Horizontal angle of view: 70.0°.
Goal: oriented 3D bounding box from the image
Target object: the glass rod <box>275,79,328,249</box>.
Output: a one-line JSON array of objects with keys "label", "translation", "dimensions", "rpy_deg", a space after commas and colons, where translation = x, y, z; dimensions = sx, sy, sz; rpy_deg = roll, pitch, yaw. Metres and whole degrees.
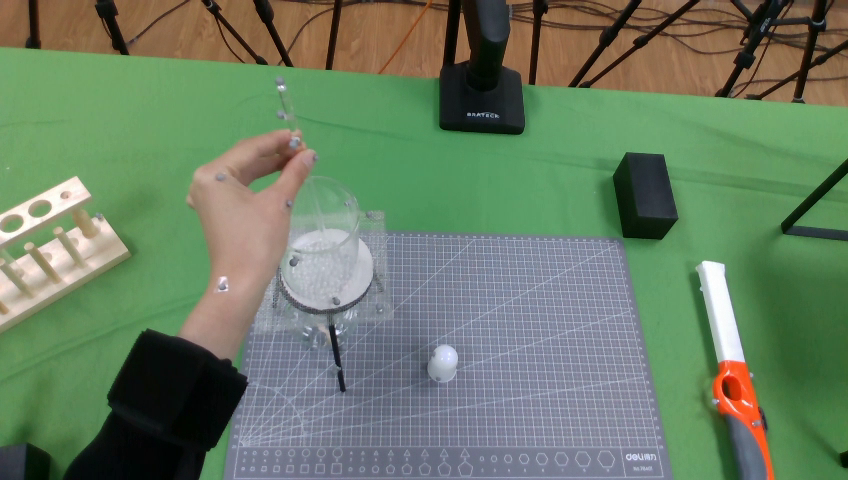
[{"label": "glass rod", "translation": [-0.095, -0.049, 0.486], "dimensions": [0.008, 0.201, 0.008], "rpy_deg": [0, 56, 1]}]

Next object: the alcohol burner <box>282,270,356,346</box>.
[{"label": "alcohol burner", "translation": [-0.109, 0.064, 0.627], "dimensions": [0.078, 0.120, 0.077], "rpy_deg": [4, 58, -5]}]

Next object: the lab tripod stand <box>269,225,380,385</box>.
[{"label": "lab tripod stand", "translation": [-0.098, 0.059, 0.620], "dimensions": [0.148, 0.132, 0.147], "rpy_deg": [3, 60, -5]}]

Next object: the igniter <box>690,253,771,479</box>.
[{"label": "igniter", "translation": [0.340, 0.139, 0.680], "dimensions": [0.057, 0.025, 0.274], "rpy_deg": [9, 59, -12]}]

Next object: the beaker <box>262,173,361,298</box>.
[{"label": "beaker", "translation": [-0.096, -0.001, 0.522], "dimensions": [0.084, 0.101, 0.073], "rpy_deg": [24, 60, 8]}]

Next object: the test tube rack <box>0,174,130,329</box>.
[{"label": "test tube rack", "translation": [-0.449, 0.037, 0.630], "dimensions": [0.242, 0.086, 0.066], "rpy_deg": [-36, 69, -23]}]

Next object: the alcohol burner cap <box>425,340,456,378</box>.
[{"label": "alcohol burner cap", "translation": [0.019, 0.125, 0.646], "dimensions": [0.034, 0.048, 0.033], "rpy_deg": [2, 60, -3]}]

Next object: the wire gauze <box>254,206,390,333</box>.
[{"label": "wire gauze", "translation": [-0.096, 0.022, 0.566], "dimensions": [0.121, 0.011, 0.124], "rpy_deg": [-3, 64, -6]}]

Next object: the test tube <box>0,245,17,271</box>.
[{"label": "test tube", "translation": [-0.443, -0.011, 0.601], "dimensions": [0.017, 0.151, 0.017], "rpy_deg": [3, 54, -4]}]
